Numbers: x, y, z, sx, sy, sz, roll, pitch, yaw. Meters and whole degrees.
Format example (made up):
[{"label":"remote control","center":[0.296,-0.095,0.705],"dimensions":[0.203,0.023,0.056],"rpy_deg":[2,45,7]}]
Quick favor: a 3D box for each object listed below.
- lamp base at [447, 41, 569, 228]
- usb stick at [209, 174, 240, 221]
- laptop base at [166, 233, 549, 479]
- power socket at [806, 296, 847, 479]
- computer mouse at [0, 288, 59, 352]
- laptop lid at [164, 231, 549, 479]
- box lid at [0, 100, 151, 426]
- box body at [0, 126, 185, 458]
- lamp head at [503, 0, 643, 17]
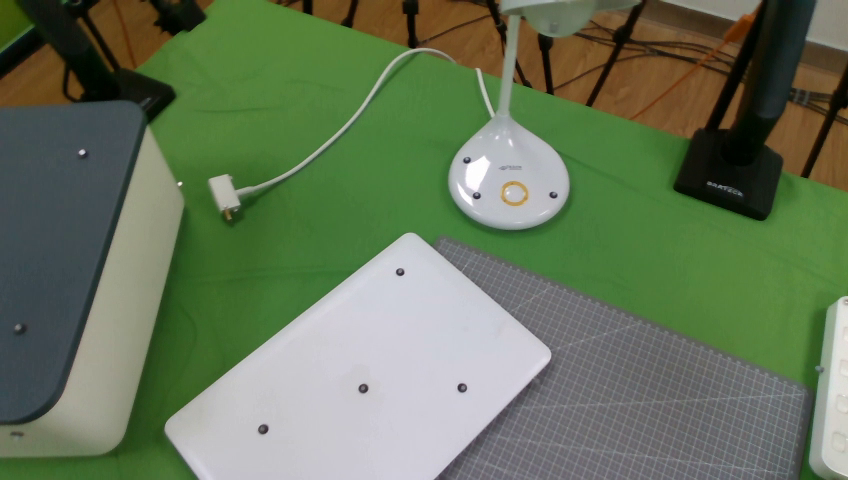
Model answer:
[{"label":"lamp base","center":[0.106,-0.135,0.745],"dimensions":[0.161,0.182,0.177],"rpy_deg":[-11,54,-6]},{"label":"usb stick","center":[-0.257,-0.054,0.787],"dimensions":[0.027,0.021,0.059],"rpy_deg":[-17,88,-27]},{"label":"laptop base","center":[-0.066,0.164,0.652],"dimensions":[0.354,0.023,0.233],"rpy_deg":[-39,67,-21]},{"label":"power socket","center":[0.453,0.156,0.633],"dimensions":[0.072,0.033,0.225],"rpy_deg":[22,59,13]},{"label":"computer mouse","center":[-0.462,0.086,0.683],"dimensions":[0.063,0.041,0.116],"rpy_deg":[-28,19,-5]},{"label":"laptop lid","center":[-0.064,0.158,0.641],"dimensions":[0.356,0.013,0.239],"rpy_deg":[-38,65,-21]},{"label":"box lid","center":[-0.434,-0.002,0.592],"dimensions":[0.263,0.015,0.368],"rpy_deg":[-1,57,1]},{"label":"box body","center":[-0.432,0.041,0.653],"dimensions":[0.254,0.162,0.360],"rpy_deg":[-1,56,0]},{"label":"lamp head","center":[0.116,-0.243,0.481],"dimensions":[0.112,0.112,0.123],"rpy_deg":[-4,100,-1]}]
